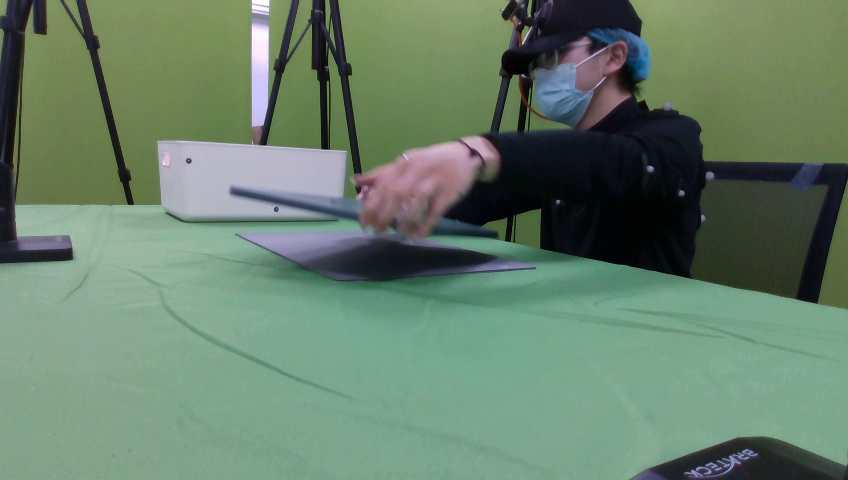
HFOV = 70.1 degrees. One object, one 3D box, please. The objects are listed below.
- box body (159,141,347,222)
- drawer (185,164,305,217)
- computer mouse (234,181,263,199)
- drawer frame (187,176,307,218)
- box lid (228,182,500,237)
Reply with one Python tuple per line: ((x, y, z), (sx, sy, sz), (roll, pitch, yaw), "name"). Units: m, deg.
((-0.384, -0.133, 1.359), (0.366, 0.160, 0.253), (-2, 9, -33), "box body")
((-0.403, -0.107, 1.354), (0.195, 0.073, 0.211), (-10, -3, -38), "drawer")
((-0.357, -0.103, 1.270), (0.062, 0.041, 0.117), (1, 0, 18), "computer mouse")
((-0.397, -0.098, 1.347), (0.203, 0.082, 0.212), (-3, 8, -37), "drawer frame")
((-0.058, -0.037, 0.847), (0.262, 0.015, 0.373), (14, 6, 22), "box lid")
